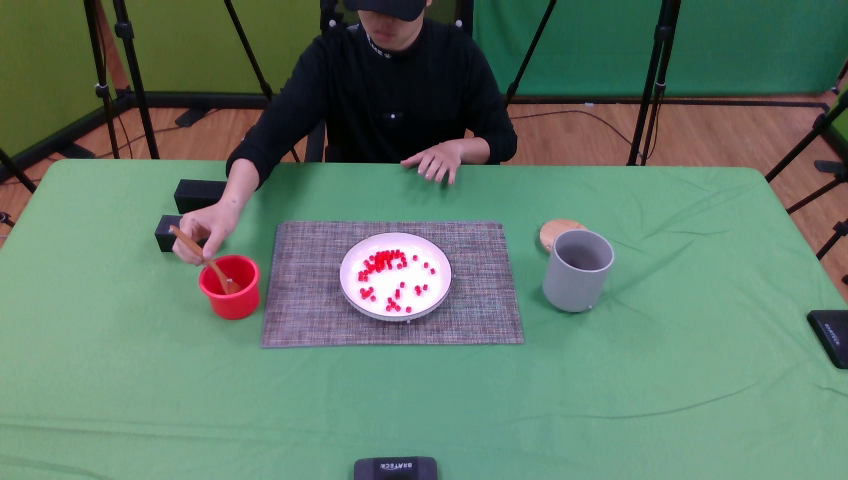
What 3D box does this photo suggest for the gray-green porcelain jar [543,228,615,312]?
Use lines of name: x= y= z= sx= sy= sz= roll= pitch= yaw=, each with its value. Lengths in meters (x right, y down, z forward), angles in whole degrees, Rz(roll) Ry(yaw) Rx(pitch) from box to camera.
gray-green porcelain jar: x=0.273 y=0.059 z=1.087 sx=0.106 sy=0.127 sz=0.105 roll=2 pitch=46 yaw=-2

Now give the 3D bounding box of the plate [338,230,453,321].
plate: x=-0.052 y=0.068 z=1.111 sx=0.208 sy=0.039 sz=0.206 roll=2 pitch=46 yaw=-2

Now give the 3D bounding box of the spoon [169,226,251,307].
spoon: x=-0.352 y=0.044 z=1.007 sx=0.021 sy=0.195 sz=0.041 roll=-15 pitch=38 yaw=20

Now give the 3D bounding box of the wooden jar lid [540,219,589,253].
wooden jar lid: x=0.286 y=0.001 z=1.219 sx=0.108 sy=0.021 sz=0.107 roll=1 pitch=46 yaw=-1
